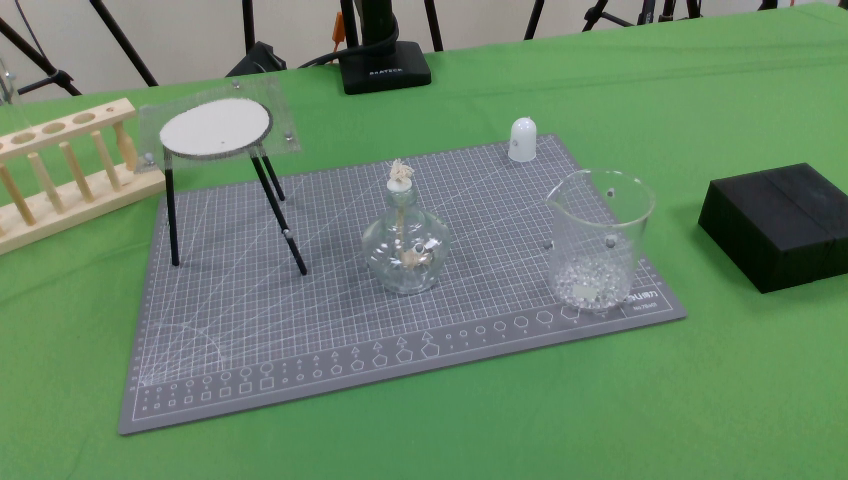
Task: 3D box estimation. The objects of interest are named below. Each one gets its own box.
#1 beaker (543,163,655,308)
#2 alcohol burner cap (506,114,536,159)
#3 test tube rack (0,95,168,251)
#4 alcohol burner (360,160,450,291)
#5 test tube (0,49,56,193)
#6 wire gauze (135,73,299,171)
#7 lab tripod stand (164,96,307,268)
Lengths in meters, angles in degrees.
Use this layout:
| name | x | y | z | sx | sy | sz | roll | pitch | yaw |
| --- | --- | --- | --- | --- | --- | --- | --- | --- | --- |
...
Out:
| name | x | y | z | sx | sy | sz | roll | pitch | yaw |
| --- | --- | --- | --- | --- | --- | --- | --- | --- | --- |
| beaker | 0.137 | 0.000 | 0.495 | 0.084 | 0.101 | 0.073 | 3 | 42 | 8 |
| alcohol burner cap | 0.108 | -0.117 | 0.671 | 0.034 | 0.048 | 0.033 | -2 | 42 | 2 |
| test tube rack | -0.397 | -0.058 | 0.609 | 0.242 | 0.086 | 0.066 | -27 | 47 | -25 |
| alcohol burner | -0.017 | -0.015 | 0.511 | 0.078 | 0.120 | 0.077 | -2 | 40 | 2 |
| test tube | -0.394 | -0.113 | 0.595 | 0.017 | 0.151 | 0.017 | 0 | 35 | 0 |
| wire gauze | -0.173 | -0.098 | 0.498 | 0.125 | 0.011 | 0.120 | -14 | 43 | -11 |
| lab tripod stand | -0.170 | -0.048 | 0.543 | 0.148 | 0.133 | 0.147 | -2 | 44 | 2 |
